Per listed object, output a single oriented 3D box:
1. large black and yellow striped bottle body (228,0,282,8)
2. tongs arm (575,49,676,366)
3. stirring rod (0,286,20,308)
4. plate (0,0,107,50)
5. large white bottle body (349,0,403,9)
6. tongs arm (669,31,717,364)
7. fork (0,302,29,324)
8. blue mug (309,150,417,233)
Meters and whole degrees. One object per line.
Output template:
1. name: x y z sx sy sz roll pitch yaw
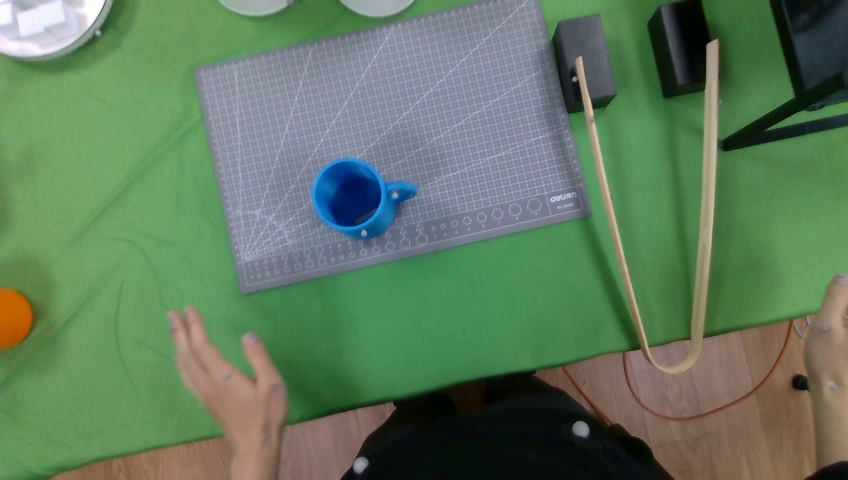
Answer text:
1. large black and yellow striped bottle body: -0.219 -0.367 0.695 0.131 0.184 0.130 0 86 2
2. tongs arm: 0.238 -0.035 0.714 0.051 0.026 0.385 -12 96 0
3. stirring rod: -0.549 0.113 0.703 0.014 0.006 0.175 34 46 1
4. plate: -0.496 -0.342 0.777 0.207 0.039 0.207 0 87 2
5. large white bottle body: -0.065 -0.364 0.689 0.130 0.185 0.130 0 86 2
6. tongs arm: 0.321 -0.045 0.713 0.028 0.027 0.388 1 96 -5
7. fork: -0.581 0.081 0.700 0.209 0.018 0.028 9 83 -41
8. blue mug: -0.066 -0.057 0.709 0.116 0.106 0.082 -12 85 1
